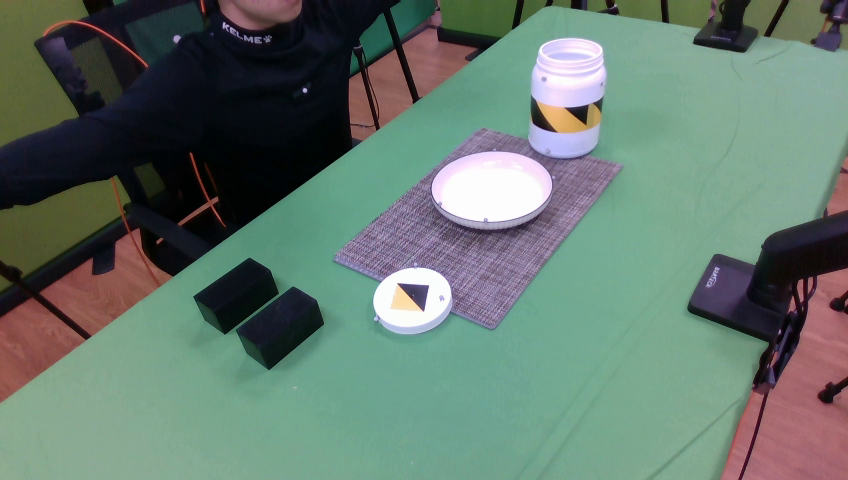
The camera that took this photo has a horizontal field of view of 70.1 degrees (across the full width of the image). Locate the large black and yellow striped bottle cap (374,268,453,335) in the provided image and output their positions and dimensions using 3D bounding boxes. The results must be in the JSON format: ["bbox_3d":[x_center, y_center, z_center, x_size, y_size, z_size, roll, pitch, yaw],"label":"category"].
[{"bbox_3d":[-0.015,0.087,0.871,0.115,0.019,0.114,-6,43,6],"label":"large black and yellow striped bottle cap"}]

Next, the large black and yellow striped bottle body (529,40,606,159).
[{"bbox_3d":[0.259,-0.257,1.103,0.131,0.185,0.130,-3,38,3],"label":"large black and yellow striped bottle body"}]

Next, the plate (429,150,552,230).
[{"bbox_3d":[0.113,-0.082,1.032,0.207,0.039,0.206,-4,41,4],"label":"plate"}]
